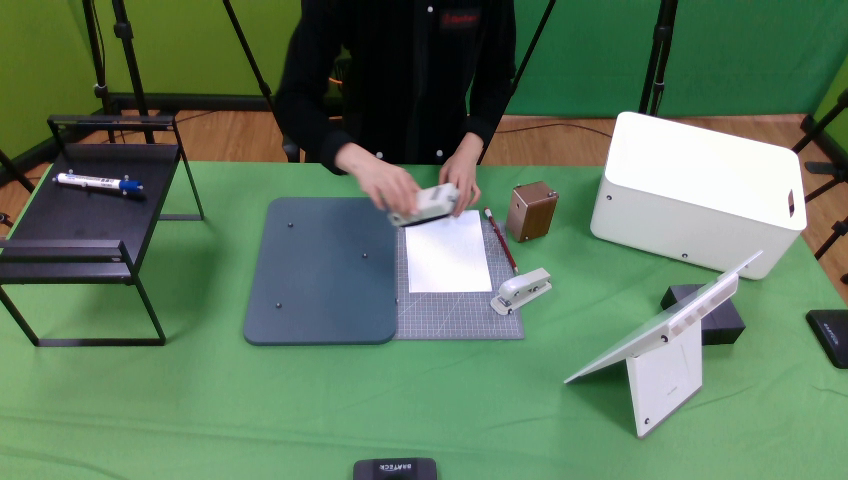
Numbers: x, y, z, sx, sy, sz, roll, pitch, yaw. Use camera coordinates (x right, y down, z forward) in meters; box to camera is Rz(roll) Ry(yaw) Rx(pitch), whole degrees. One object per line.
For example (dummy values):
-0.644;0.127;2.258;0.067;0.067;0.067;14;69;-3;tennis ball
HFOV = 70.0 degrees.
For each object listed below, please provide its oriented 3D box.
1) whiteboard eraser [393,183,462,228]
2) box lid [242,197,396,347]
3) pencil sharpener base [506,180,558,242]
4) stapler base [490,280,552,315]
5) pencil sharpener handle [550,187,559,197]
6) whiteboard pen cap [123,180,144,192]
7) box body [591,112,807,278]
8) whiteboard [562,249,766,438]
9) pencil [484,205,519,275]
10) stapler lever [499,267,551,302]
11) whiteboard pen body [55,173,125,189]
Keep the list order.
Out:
0.007;-0.052;0.969;0.112;0.042;0.055;-13;41;35;whiteboard eraser
-0.186;0.046;1.147;0.263;0.015;0.369;0;46;-3;box lid
0.216;-0.058;1.211;0.077;0.107;0.061;-16;49;-19;pencil sharpener base
0.181;0.094;1.118;0.130;0.024;0.041;-24;57;-29;stapler base
0.261;-0.084;1.221;0.031;0.068;0.036;-16;65;-19;pencil sharpener handle
-0.479;-0.089;0.993;0.033;0.018;0.018;7;46;14;whiteboard pen cap
0.540;-0.092;1.229;0.363;0.161;0.253;16;47;11;box body
0.386;0.175;0.905;0.217;0.306;0.143;-26;72;-26;whiteboard
0.156;-0.001;1.218;0.012;0.012;0.192;-9;48;-13;pencil
0.185;0.076;1.101;0.118;0.040;0.026;-25;57;-29;stapler lever
-0.539;-0.095;0.998;0.141;0.017;0.017;6;46;6;whiteboard pen body
